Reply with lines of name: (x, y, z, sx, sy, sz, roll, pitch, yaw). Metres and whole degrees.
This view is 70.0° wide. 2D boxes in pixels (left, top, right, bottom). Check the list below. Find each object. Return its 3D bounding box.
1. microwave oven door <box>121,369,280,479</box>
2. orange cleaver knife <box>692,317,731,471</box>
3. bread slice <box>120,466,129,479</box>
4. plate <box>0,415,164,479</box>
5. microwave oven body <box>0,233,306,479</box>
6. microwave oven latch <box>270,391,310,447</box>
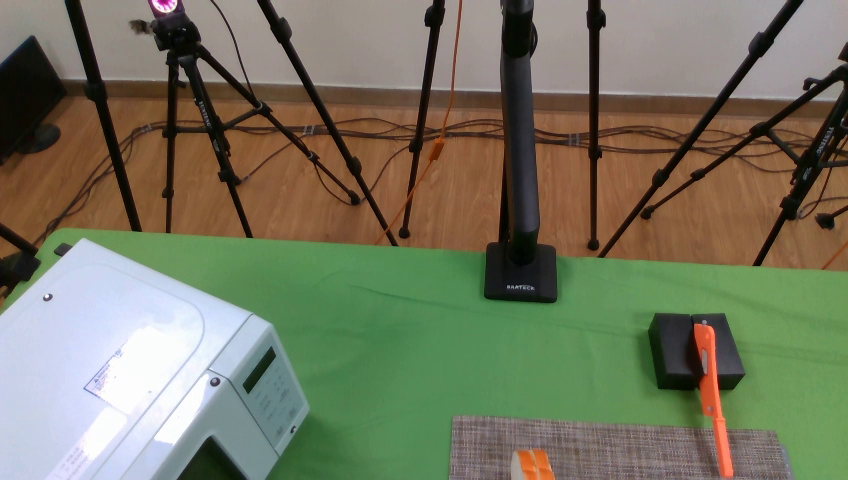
microwave oven door: (-0.295, 0.336, 0.647, 0.039, 0.246, 0.354, 20, 55, 18)
orange cleaver knife: (0.394, 0.207, 0.839, 0.012, 0.077, 0.210, -2, 72, 5)
bread slice: (-0.422, 0.345, 0.730, 0.135, 0.018, 0.106, -13, 51, -21)
plate: (-0.424, 0.320, 0.742, 0.208, 0.039, 0.205, 1, 50, -1)
microwave oven body: (-0.407, 0.263, 0.718, 0.324, 0.262, 0.439, 20, 56, 17)
microwave oven latch: (-0.190, 0.245, 0.844, 0.030, 0.030, 0.079, 22, 56, 18)
